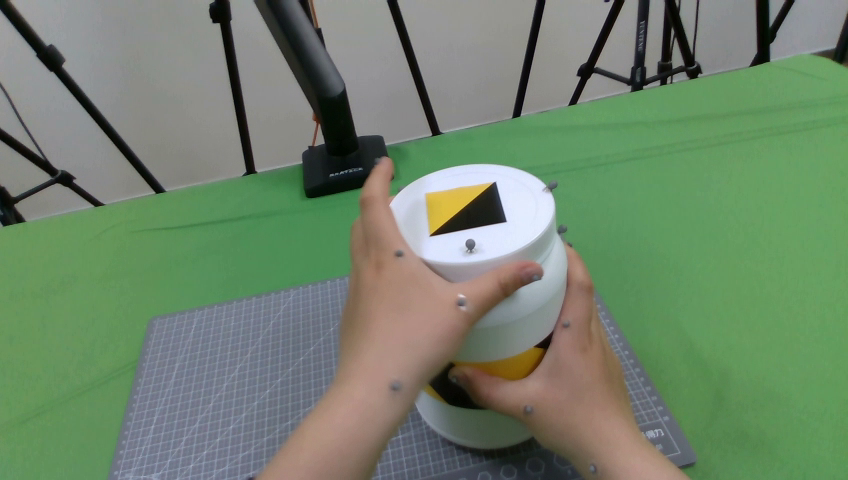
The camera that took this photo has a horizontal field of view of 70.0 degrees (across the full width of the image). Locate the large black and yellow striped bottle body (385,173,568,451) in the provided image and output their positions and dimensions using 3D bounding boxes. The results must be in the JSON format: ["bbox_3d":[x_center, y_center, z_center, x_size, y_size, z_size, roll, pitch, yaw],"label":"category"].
[{"bbox_3d":[0.043,0.054,0.459,0.131,0.186,0.129,-6,38,5],"label":"large black and yellow striped bottle body"}]

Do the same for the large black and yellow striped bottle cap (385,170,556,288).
[{"bbox_3d":[0.030,-0.011,0.407,0.115,0.019,0.114,-6,36,5],"label":"large black and yellow striped bottle cap"}]
